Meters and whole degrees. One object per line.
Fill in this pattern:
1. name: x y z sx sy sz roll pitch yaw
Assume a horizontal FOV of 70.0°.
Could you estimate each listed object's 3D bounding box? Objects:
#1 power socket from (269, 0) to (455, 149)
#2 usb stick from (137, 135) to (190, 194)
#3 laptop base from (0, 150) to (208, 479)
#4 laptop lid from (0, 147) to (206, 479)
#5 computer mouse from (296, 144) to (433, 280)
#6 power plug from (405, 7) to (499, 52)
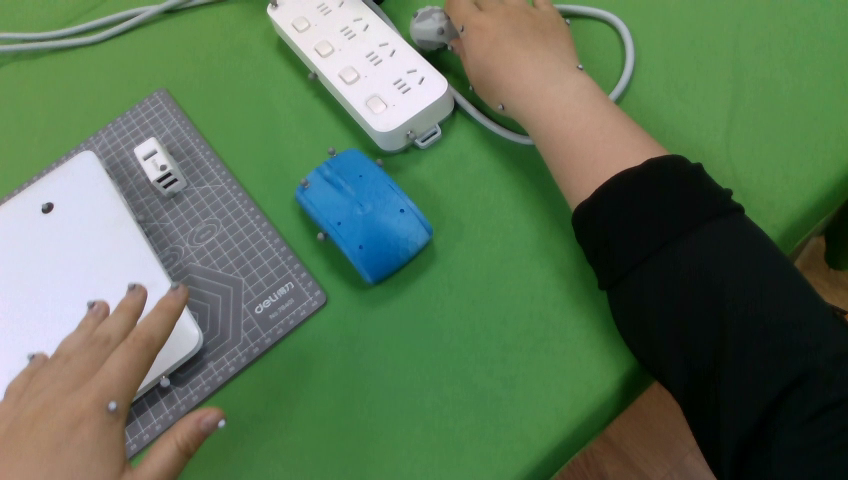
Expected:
1. power socket: -0.058 -0.161 0.517 0.072 0.033 0.224 -36 60 -6
2. usb stick: -0.221 -0.068 0.508 0.021 0.027 0.058 -37 58 -6
3. laptop base: -0.351 0.103 0.455 0.354 0.023 0.233 -38 64 -8
4. laptop lid: -0.352 0.099 0.444 0.356 0.013 0.239 -37 63 -7
5. computer mouse: -0.047 -0.027 0.440 0.063 0.041 0.116 -40 56 -6
6. power plug: 0.020 -0.175 0.520 0.052 0.073 0.035 44 122 55
